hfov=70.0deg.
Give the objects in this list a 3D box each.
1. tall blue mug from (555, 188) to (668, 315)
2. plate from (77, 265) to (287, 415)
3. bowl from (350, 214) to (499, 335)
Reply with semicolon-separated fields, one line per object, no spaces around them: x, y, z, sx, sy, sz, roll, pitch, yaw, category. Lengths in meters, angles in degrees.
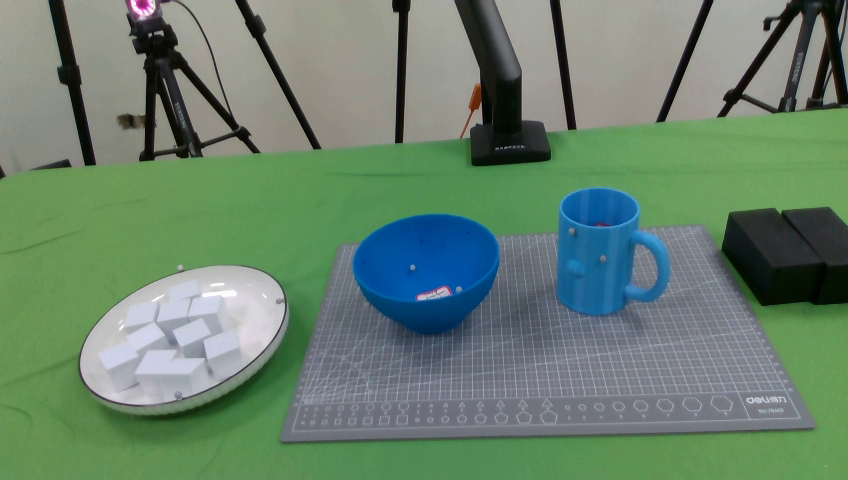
0.189;0.013;0.616;0.107;0.109;0.077;4;36;15;tall blue mug
-0.244;0.102;0.631;0.209;0.038;0.207;-4;35;3;plate
0.004;0.045;0.630;0.151;0.077;0.150;-5;35;4;bowl
